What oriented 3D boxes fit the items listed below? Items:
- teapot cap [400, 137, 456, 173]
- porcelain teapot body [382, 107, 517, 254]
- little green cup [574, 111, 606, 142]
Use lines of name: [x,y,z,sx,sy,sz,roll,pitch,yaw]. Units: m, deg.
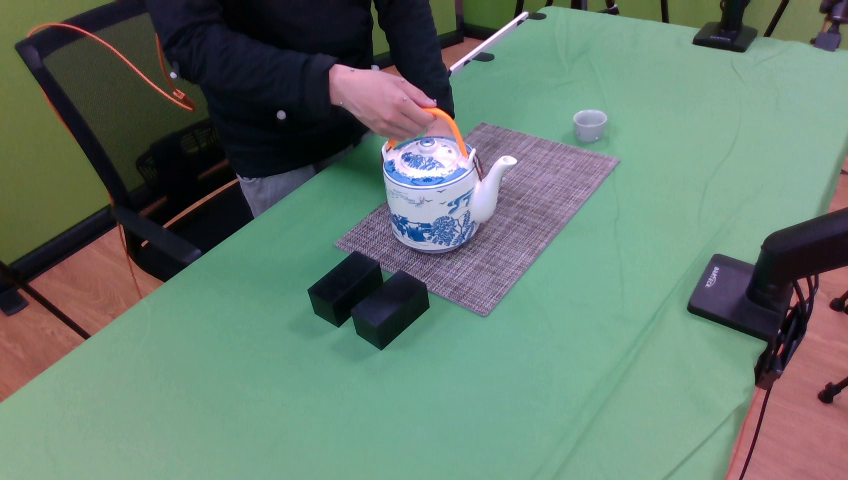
teapot cap: [0.006,-0.127,0.893,0.085,0.044,0.084,-3,43,3]
porcelain teapot body: [0.038,-0.095,0.912,0.205,0.226,0.145,6,42,14]
little green cup: [0.318,-0.217,1.164,0.061,0.039,0.061,-3,41,3]
